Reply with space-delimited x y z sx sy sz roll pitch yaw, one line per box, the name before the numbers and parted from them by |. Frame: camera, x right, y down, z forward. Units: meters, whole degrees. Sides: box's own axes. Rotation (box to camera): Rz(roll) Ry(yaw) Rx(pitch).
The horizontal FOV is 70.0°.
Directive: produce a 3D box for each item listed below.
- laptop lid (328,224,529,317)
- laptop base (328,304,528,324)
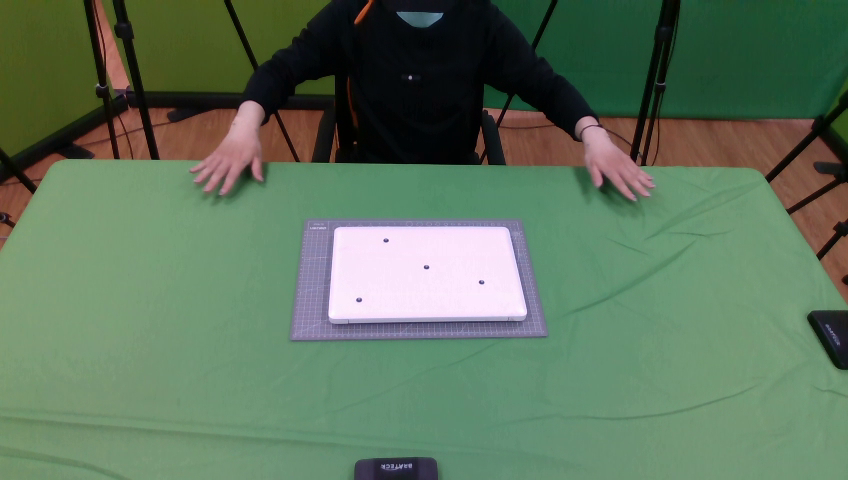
laptop lid | 0.005 0.051 1.130 0.357 0.013 0.240 1 44 -3
laptop base | 0.005 0.061 1.136 0.355 0.023 0.234 0 43 -4
